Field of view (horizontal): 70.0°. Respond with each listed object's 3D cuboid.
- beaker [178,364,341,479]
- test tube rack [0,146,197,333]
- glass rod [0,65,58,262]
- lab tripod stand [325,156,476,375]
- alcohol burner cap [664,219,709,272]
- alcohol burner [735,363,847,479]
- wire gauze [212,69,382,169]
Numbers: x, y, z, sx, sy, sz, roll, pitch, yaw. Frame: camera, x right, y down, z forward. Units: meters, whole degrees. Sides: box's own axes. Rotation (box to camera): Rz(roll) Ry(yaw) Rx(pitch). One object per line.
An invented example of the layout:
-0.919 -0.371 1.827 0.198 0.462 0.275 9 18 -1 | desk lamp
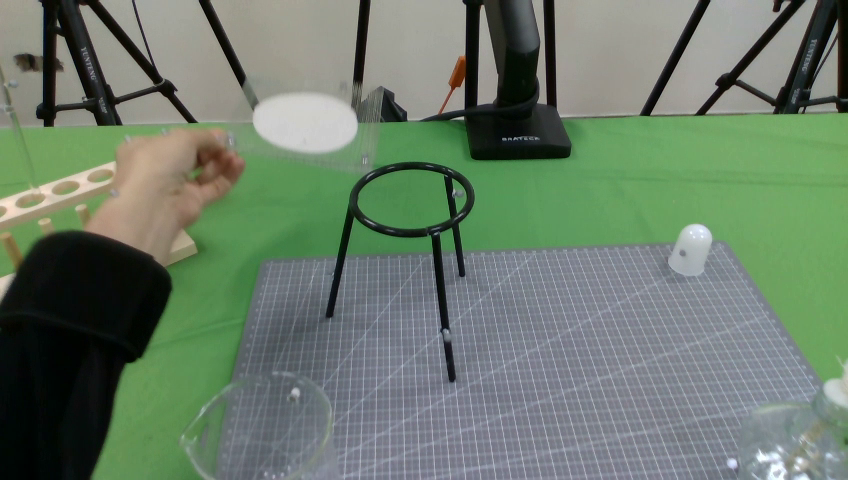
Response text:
-0.088 0.133 0.351 0.084 0.101 0.073 -4 40 -4 | beaker
-0.332 0.008 0.518 0.242 0.086 0.066 -28 47 -30 | test tube rack
-0.329 -0.065 0.503 0.008 0.201 0.008 3 32 -2 | glass rod
-0.012 0.014 0.469 0.148 0.133 0.147 -1 41 1 | lab tripod stand
0.242 0.002 0.555 0.034 0.048 0.033 0 39 0 | alcohol burner cap
0.232 0.116 0.360 0.078 0.120 0.077 0 38 0 | alcohol burner
-0.101 -0.108 0.508 0.125 0.011 0.120 7 46 -2 | wire gauze
